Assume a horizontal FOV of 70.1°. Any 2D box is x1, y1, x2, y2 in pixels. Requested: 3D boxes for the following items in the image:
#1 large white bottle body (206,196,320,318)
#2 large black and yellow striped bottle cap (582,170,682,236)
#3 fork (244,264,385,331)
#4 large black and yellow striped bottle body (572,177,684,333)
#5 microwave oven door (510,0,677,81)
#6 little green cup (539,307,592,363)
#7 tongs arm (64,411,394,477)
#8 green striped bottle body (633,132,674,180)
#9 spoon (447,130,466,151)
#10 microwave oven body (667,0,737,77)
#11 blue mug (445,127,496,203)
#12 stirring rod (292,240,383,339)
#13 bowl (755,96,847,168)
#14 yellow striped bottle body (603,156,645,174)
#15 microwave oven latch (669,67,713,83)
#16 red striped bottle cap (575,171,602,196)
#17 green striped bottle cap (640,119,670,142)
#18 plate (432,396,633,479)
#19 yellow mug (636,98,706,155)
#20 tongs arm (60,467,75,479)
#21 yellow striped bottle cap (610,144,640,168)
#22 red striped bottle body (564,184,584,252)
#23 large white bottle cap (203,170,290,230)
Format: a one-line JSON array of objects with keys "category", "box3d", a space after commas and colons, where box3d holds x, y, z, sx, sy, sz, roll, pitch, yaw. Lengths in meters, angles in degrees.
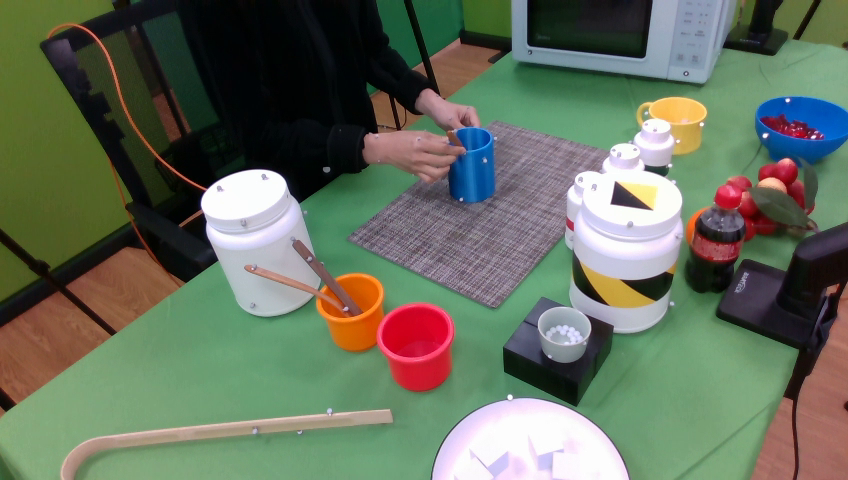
[{"category": "large white bottle body", "box3d": [-0.233, 0.008, 0.877, 0.130, 0.185, 0.130, -4, 40, 4]}, {"category": "large black and yellow striped bottle cap", "box3d": [0.252, -0.048, 0.735, 0.115, 0.019, 0.114, -3, 40, 3]}, {"category": "fork", "box3d": [-0.142, 0.078, 0.806, 0.209, 0.018, 0.028, 30, 32, -23]}, {"category": "large black and yellow striped bottle body", "box3d": [0.262, 0.017, 0.788, 0.131, 0.185, 0.130, -5, 40, 4]}, {"category": "microwave oven door", "box3d": [0.354, -0.478, 1.290, 0.353, 0.245, 0.039, 15, 45, 25]}, {"category": "little green cup", "box3d": [0.167, 0.114, 0.721, 0.061, 0.039, 0.061, -4, 43, 4]}, {"category": "tongs arm", "box3d": [-0.228, 0.241, 0.715, 0.385, 0.026, 0.050, -5, 43, 4]}, {"category": "green striped bottle body", "box3d": [0.376, -0.135, 1.001, 0.063, 0.120, 0.063, -5, 40, 5]}, {"category": "spoon", "box3d": [0.063, -0.145, 1.000, 0.041, 0.195, 0.021, 1, 76, 17]}, {"category": "microwave oven body", "box3d": [0.462, -0.552, 1.369, 0.439, 0.261, 0.326, 15, 45, 26]}, {"category": "blue mug", "box3d": [0.082, -0.140, 1.059, 0.082, 0.106, 0.116, -3, 40, 5]}, {"category": "stirring rod", "box3d": [-0.118, 0.068, 0.826, 0.176, 0.006, 0.014, 49, 59, -4]}, {"category": "bowl", "box3d": [0.645, -0.177, 1.041, 0.151, 0.077, 0.150, -5, 40, 4]}, {"category": "yellow striped bottle body", "box3d": [0.313, -0.089, 0.956, 0.063, 0.121, 0.062, -4, 40, 4]}, {"category": "microwave oven latch", "box3d": [0.556, -0.348, 1.261, 0.078, 0.029, 0.030, 16, 46, 27]}, {"category": "red striped bottle cap", "box3d": [0.242, -0.081, 0.876, 0.044, 0.018, 0.044, -5, 44, 5]}, {"category": "green striped bottle cap", "box3d": [0.370, -0.174, 0.968, 0.044, 0.020, 0.044, -3, 41, 3]}, {"category": "plate", "box3d": [0.112, 0.261, 0.634, 0.209, 0.038, 0.208, -5, 40, 4]}, {"category": "yellow mug", "box3d": [0.453, -0.217, 1.128, 0.100, 0.064, 0.129, -34, 46, -27]}, {"category": "tongs arm", "box3d": [-0.239, 0.301, 0.648, 0.386, 0.028, 0.028, 6, 49, 16]}, {"category": "yellow striped bottle cap", "box3d": [0.307, -0.128, 0.923, 0.044, 0.019, 0.044, -5, 39, 5]}, {"category": "red striped bottle body", "box3d": [0.247, -0.041, 0.910, 0.063, 0.120, 0.062, -3, 39, 3]}, {"category": "large white bottle cap", "box3d": [-0.241, -0.057, 0.822, 0.115, 0.018, 0.114, -4, 40, 4]}]
